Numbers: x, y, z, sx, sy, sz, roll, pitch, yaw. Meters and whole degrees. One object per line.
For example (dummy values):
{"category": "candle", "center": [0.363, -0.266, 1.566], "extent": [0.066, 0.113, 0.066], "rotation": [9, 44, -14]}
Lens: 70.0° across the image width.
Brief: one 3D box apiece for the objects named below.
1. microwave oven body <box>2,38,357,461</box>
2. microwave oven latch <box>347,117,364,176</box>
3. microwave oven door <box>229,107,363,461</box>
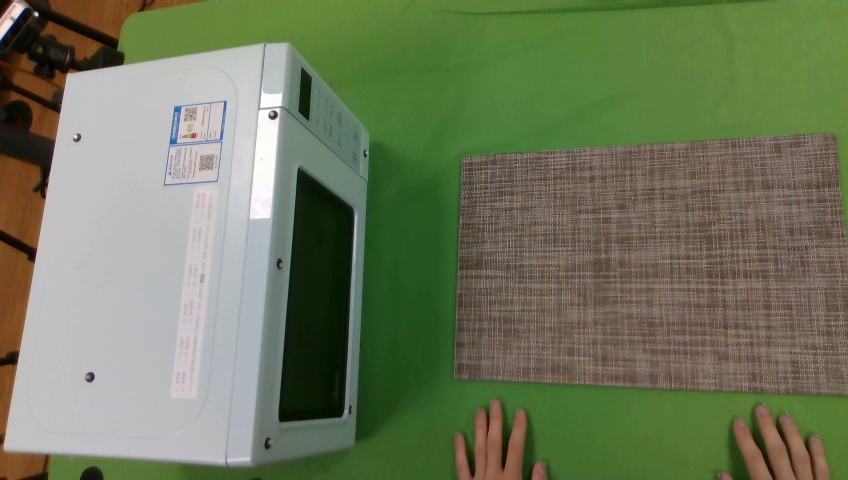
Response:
{"category": "microwave oven body", "center": [-0.273, 0.027, 0.756], "extent": [0.325, 0.262, 0.439], "rotation": [-3, 77, 15]}
{"category": "microwave oven latch", "center": [-0.101, -0.130, 0.846], "extent": [0.030, 0.030, 0.079], "rotation": [-2, 78, 16]}
{"category": "microwave oven door", "center": [-0.135, 0.060, 0.703], "extent": [0.039, 0.245, 0.354], "rotation": [-3, 76, 16]}
